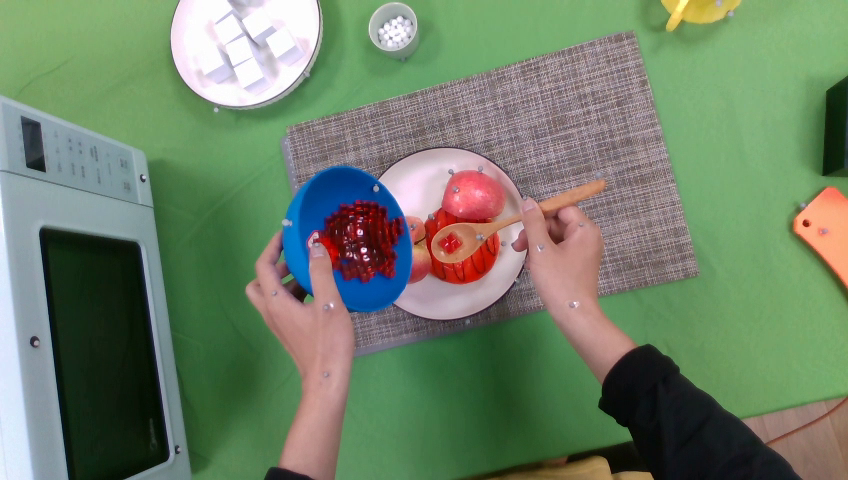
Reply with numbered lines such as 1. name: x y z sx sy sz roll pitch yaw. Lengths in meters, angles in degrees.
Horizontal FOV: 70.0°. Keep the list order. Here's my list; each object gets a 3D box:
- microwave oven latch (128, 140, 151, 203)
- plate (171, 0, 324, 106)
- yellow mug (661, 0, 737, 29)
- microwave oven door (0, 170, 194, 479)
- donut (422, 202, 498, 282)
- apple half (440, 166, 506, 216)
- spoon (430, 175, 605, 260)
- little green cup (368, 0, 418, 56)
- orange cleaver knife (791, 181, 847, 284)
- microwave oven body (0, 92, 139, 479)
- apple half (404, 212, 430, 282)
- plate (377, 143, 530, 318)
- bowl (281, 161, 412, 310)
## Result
1. microwave oven latch: -0.377 -0.087 0.786 0.030 0.029 0.079 -11 85 8
2. plate: -0.227 -0.273 0.794 0.207 0.039 0.207 -1 86 10
3. yellow mug: 0.313 -0.299 0.688 0.099 0.064 0.131 34 93 11
4. microwave oven door: -0.357 0.118 0.664 0.039 0.244 0.354 -12 83 9
5. donut: 0.038 0.000 0.712 0.099 0.048 0.099 0 88 9
6. apple half: 0.059 -0.063 0.698 0.081 0.033 0.080 1 46 -1
7. spoon: 0.090 -0.023 0.610 0.193 0.022 0.041 -22 81 31
8. little green cup: -0.036 -0.263 0.760 0.061 0.039 0.061 -1 85 10
9. orange cleaver knife: 0.482 0.035 0.656 0.077 0.012 0.210 -29 80 2
10. microwave oven body: -0.505 0.107 0.696 0.326 0.261 0.440 -12 84 8
11. apple half: -0.036 0.009 0.704 0.074 0.054 0.080 -17 79 49
12. plate: 0.023 -0.011 0.727 0.209 0.038 0.208 -1 86 10
13. bowl: -0.092 0.003 0.620 0.076 0.152 0.151 -17 81 40
